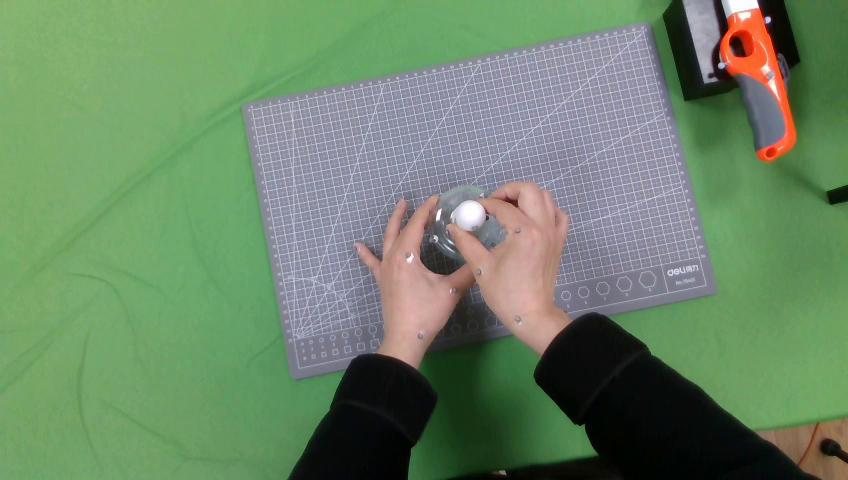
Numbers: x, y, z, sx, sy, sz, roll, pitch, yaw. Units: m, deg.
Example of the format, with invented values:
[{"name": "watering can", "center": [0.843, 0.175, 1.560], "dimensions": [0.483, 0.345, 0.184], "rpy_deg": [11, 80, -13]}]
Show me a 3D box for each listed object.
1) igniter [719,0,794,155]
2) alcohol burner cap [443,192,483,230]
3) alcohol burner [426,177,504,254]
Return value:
[{"name": "igniter", "center": [0.313, -0.218, 0.595], "dimensions": [0.057, 0.025, 0.275], "rpy_deg": [-11, 83, 1]}, {"name": "alcohol burner cap", "center": [0.038, -0.028, 0.551], "dimensions": [0.034, 0.048, 0.034], "rpy_deg": [1, 85, -11]}, {"name": "alcohol burner", "center": [0.040, -0.025, 0.582], "dimensions": [0.078, 0.119, 0.078], "rpy_deg": [0, 86, 2]}]
